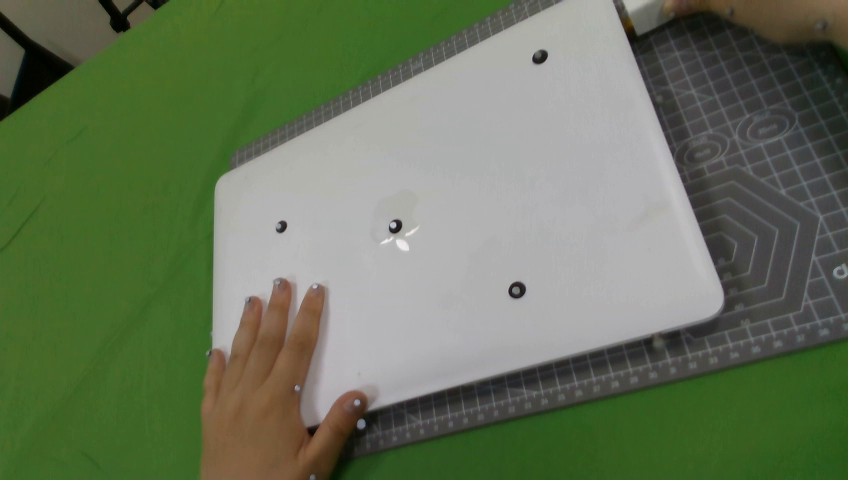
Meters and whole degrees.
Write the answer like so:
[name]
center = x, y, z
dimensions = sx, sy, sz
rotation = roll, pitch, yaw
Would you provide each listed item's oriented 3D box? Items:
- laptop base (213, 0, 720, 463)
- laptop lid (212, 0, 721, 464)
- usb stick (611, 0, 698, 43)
[laptop base]
center = -0.014, 0.000, 0.422
dimensions = 0.354, 0.023, 0.233
rotation = -22, 62, 23
[laptop lid]
center = -0.019, -0.001, 0.412
dimensions = 0.356, 0.013, 0.239
rotation = -21, 62, 24
[usb stick]
center = 0.135, -0.143, 0.374
dimensions = 0.059, 0.027, 0.021
rotation = -28, 53, 27
